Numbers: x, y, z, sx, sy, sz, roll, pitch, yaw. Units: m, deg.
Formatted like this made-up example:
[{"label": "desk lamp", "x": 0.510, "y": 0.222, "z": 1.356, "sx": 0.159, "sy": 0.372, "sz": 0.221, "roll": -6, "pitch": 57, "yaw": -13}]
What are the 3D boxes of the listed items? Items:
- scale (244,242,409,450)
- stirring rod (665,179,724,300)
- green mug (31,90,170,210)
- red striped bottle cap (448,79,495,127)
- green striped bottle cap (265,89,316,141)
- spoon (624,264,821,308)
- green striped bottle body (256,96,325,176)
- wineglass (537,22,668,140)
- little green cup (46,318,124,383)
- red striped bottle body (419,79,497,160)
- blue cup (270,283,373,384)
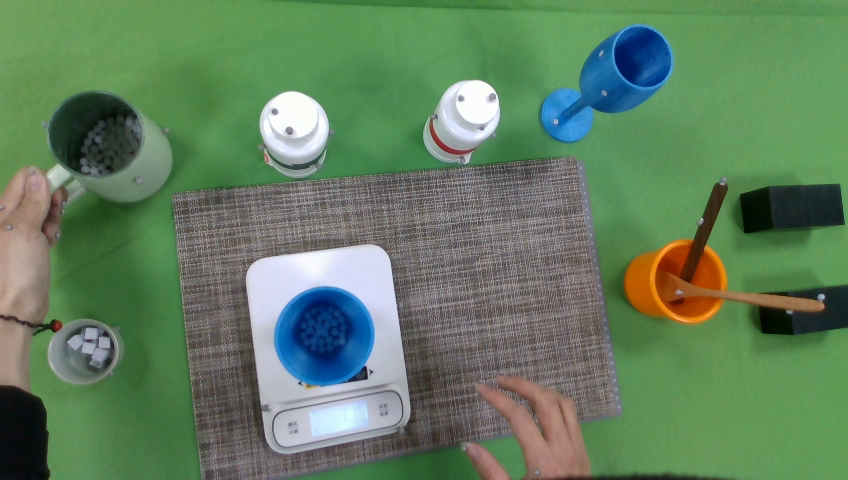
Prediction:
[{"label": "scale", "x": -0.099, "y": 0.107, "z": 0.624, "sx": 0.149, "sy": 0.031, "sz": 0.200, "roll": -8, "pitch": 87, "yaw": -12}, {"label": "stirring rod", "x": 0.290, "y": 0.005, "z": 0.656, "sx": 0.014, "sy": 0.178, "sz": 0.005, "roll": 0, "pitch": 44, "yaw": 2}, {"label": "green mug", "x": -0.306, "y": -0.075, "z": 0.565, "sx": 0.093, "sy": 0.105, "sz": 0.125, "roll": 46, "pitch": 78, "yaw": -6}, {"label": "red striped bottle cap", "x": 0.046, "y": -0.132, "z": 0.580, "sx": 0.045, "sy": 0.018, "sz": 0.044, "roll": 2, "pitch": 81, "yaw": -10}, {"label": "green striped bottle cap", "x": -0.120, "y": -0.112, "z": 0.543, "sx": 0.044, "sy": 0.020, "sz": 0.044, "roll": 1, "pitch": 84, "yaw": -9}, {"label": "spoon", "x": 0.315, "y": 0.055, "z": 0.657, "sx": 0.022, "sy": 0.192, "sz": 0.041, "roll": 7, "pitch": 90, "yaw": -54}, {"label": "green striped bottle body", "x": -0.130, "y": -0.105, "z": 0.597, "sx": 0.063, "sy": 0.119, "sz": 0.063, "roll": 1, "pitch": 84, "yaw": -11}, {"label": "wineglass", "x": 0.180, "y": -0.160, "z": 0.637, "sx": 0.074, "sy": 0.172, "sz": 0.073, "roll": 1, "pitch": 84, "yaw": -10}, {"label": "little green cup", "x": -0.321, "y": 0.104, "z": 0.580, "sx": 0.062, "sy": 0.038, "sz": 0.061, "roll": 1, "pitch": 85, "yaw": -12}, {"label": "red striped bottle body", "x": 0.036, "y": -0.126, "z": 0.632, "sx": 0.063, "sy": 0.119, "sz": 0.063, "roll": 1, "pitch": 84, "yaw": -11}, {"label": "blue cup", "x": -0.095, "y": 0.083, "z": 0.561, "sx": 0.093, "sy": 0.100, "sz": 0.092, "roll": 1, "pitch": 86, "yaw": -11}]
